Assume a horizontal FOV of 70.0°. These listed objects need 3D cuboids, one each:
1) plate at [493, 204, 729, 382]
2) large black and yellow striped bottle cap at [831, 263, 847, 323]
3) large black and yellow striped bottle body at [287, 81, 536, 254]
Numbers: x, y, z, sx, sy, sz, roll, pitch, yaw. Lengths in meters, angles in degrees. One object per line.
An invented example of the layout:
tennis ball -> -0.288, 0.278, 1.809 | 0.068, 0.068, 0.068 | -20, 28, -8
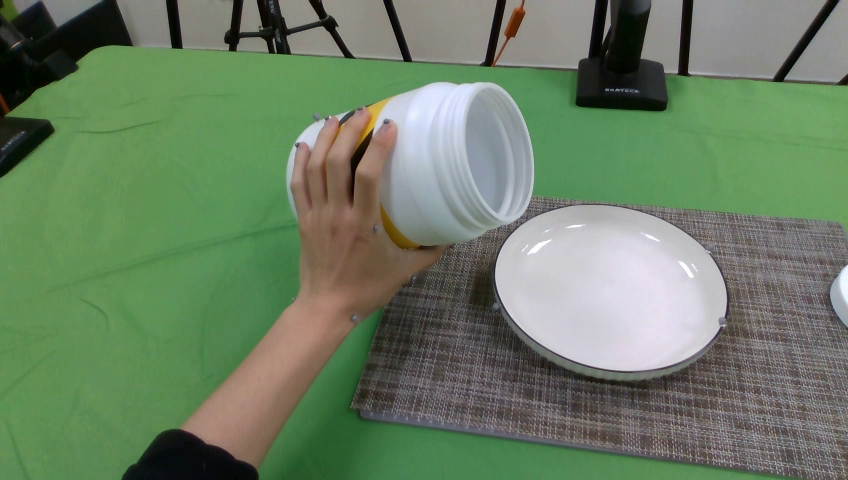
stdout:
plate -> 0.168, 0.046, 0.561 | 0.207, 0.039, 0.205 | -2, 44, 2
large black and yellow striped bottle cap -> 0.433, 0.059, 0.546 | 0.115, 0.019, 0.114 | 1, 46, 0
large black and yellow striped bottle body -> -0.011, -0.059, 0.518 | 0.183, 0.132, 0.130 | -7, 37, 37
